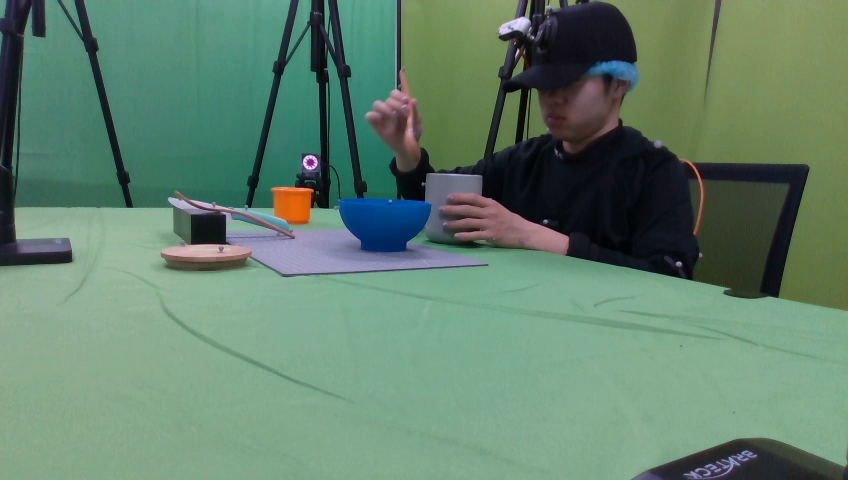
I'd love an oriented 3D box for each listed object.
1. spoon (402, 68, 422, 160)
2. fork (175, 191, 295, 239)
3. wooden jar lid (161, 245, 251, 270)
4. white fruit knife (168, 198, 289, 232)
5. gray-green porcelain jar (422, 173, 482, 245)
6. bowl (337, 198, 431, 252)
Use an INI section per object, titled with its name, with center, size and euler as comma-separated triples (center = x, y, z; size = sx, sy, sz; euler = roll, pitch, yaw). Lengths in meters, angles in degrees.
[spoon]
center = -0.023, -0.227, 1.073
size = 0.022, 0.193, 0.041
euler = -2, -26, -8
[fork]
center = -0.306, -0.039, 0.993
size = 0.208, 0.018, 0.028
euler = 19, -9, -34
[wooden jar lid]
center = -0.279, 0.022, 0.777
size = 0.108, 0.020, 0.108
euler = 2, 6, 0
[white fruit knife]
center = -0.329, -0.044, 1.036
size = 0.208, 0.027, 0.016
euler = 14, -1, -32
[gray-green porcelain jar]
center = 0.051, -0.058, 1.115
size = 0.106, 0.126, 0.106
euler = 3, 8, 0
[bowl]
center = -0.066, -0.024, 0.967
size = 0.151, 0.077, 0.151
euler = 3, 8, 0
